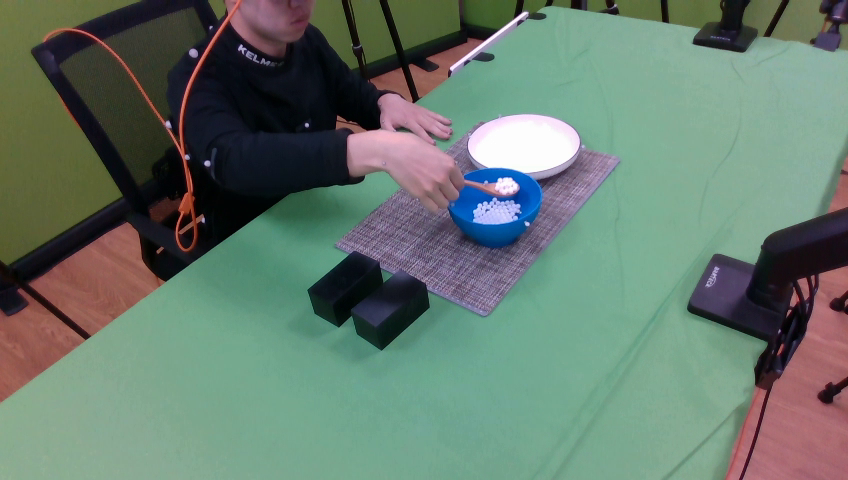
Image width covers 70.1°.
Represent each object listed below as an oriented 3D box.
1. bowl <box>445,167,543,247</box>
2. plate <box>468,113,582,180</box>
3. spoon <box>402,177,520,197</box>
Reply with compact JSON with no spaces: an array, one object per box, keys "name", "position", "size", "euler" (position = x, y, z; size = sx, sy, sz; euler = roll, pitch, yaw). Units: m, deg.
[{"name":"bowl","position":[0.111,-0.042,0.952],"size":[0.151,0.077,0.150],"euler":[-4,41,4]},{"name":"plate","position":[0.186,-0.169,1.122],"size":[0.207,0.039,0.206],"euler":[-4,40,4]},{"name":"spoon","position":[0.058,-0.084,0.911],"size":[0.195,0.021,0.041],"euler":[5,32,-25]}]
